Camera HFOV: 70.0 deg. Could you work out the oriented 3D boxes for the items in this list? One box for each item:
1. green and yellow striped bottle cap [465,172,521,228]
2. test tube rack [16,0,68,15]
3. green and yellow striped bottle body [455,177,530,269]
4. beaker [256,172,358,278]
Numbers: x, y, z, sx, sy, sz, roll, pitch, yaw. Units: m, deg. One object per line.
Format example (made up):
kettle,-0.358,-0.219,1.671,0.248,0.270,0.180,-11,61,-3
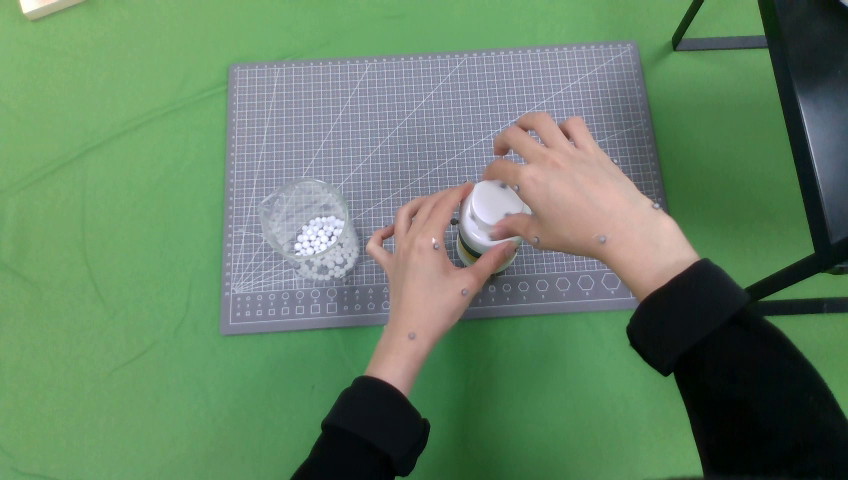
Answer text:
green and yellow striped bottle cap,0.057,-0.034,0.500,0.045,0.020,0.045,1,75,-4
test tube rack,-0.357,-0.345,0.671,0.242,0.085,0.066,-24,74,-6
green and yellow striped bottle body,0.060,-0.018,0.550,0.063,0.120,0.063,0,73,1
beaker,-0.104,-0.009,0.561,0.084,0.101,0.073,16,73,6
